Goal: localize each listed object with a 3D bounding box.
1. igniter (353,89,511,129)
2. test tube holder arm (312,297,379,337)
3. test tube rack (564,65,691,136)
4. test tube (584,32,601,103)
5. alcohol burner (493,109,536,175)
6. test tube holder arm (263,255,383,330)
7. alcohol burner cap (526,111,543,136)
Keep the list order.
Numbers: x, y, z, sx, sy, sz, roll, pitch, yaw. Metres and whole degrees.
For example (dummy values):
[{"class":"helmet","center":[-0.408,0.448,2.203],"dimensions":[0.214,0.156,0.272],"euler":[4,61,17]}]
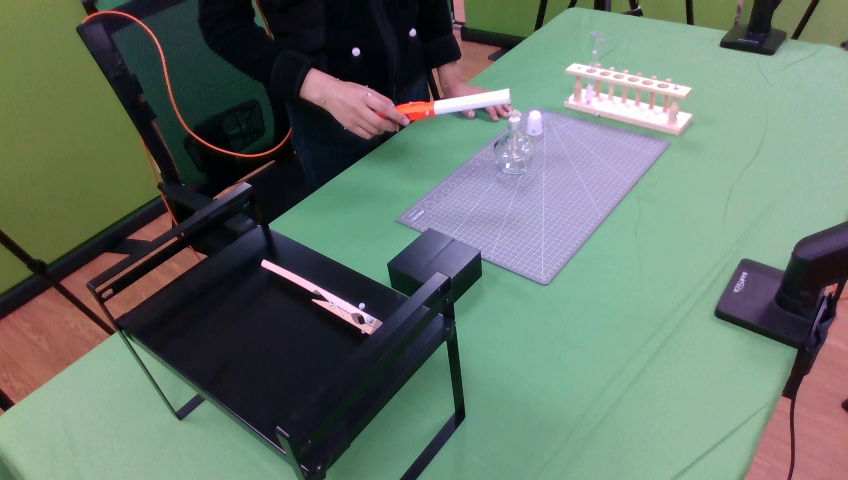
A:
[{"class":"igniter","center":[0.008,-0.223,1.028],"dimensions":[0.276,0.025,0.057],"euler":[-7,35,13]},{"class":"test tube holder arm","center":[-0.082,0.075,0.622],"dimensions":[0.087,0.015,0.010],"euler":[27,80,33]},{"class":"test tube rack","center":[0.404,-0.288,1.204],"dimensions":[0.240,0.085,0.067],"euler":[24,49,32]},{"class":"test tube","center":[0.333,-0.338,1.198],"dimensions":[0.017,0.151,0.017],"euler":[-3,45,3]},{"class":"alcohol burner","center":[0.163,-0.179,1.087],"dimensions":[0.078,0.119,0.077],"euler":[-5,39,5]},{"class":"test tube holder arm","center":[-0.113,0.054,0.647],"dimensions":[0.177,0.015,0.013],"euler":[26,80,33]},{"class":"alcohol burner cap","center":[0.219,-0.232,1.196],"dimensions":[0.034,0.048,0.033],"euler":[-4,40,4]}]
